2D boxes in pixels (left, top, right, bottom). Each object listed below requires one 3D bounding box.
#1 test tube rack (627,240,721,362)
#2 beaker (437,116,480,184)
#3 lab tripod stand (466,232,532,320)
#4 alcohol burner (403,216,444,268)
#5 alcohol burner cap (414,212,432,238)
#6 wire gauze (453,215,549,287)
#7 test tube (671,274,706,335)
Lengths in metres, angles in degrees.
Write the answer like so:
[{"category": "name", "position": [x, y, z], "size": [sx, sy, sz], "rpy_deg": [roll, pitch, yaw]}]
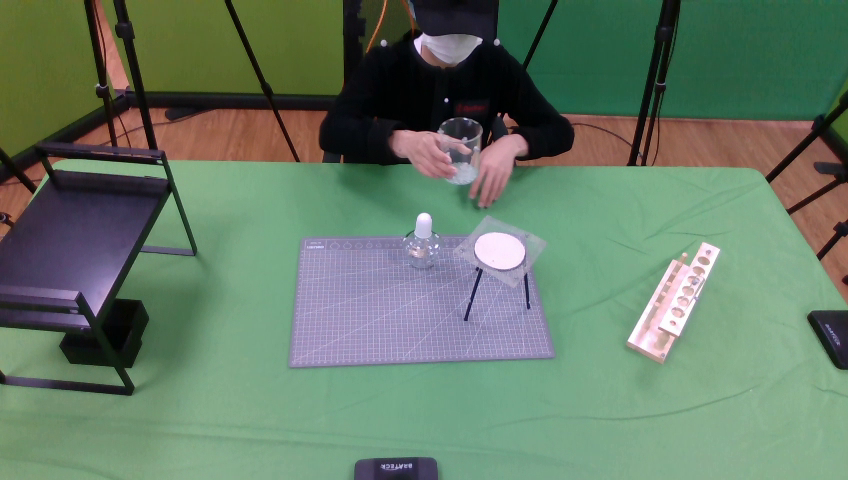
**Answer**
[{"category": "test tube rack", "position": [0.452, 0.098, 1.087], "size": [0.066, 0.085, 0.242], "rpy_deg": [28, 51, 22]}, {"category": "beaker", "position": [0.062, -0.159, 1.074], "size": [0.074, 0.101, 0.083], "rpy_deg": [18, 48, 20]}, {"category": "lab tripod stand", "position": [0.125, 0.059, 1.065], "size": [0.148, 0.132, 0.147], "rpy_deg": [1, 45, 0]}, {"category": "alcohol burner", "position": [-0.001, -0.004, 1.132], "size": [0.078, 0.120, 0.077], "rpy_deg": [1, 47, 0]}, {"category": "alcohol burner cap", "position": [0.000, -0.030, 1.107], "size": [0.034, 0.048, 0.033], "rpy_deg": [4, 41, -3]}, {"category": "wire gauze", "position": [0.129, 0.012, 1.017], "size": [0.124, 0.011, 0.121], "rpy_deg": [28, 50, 23]}, {"category": "test tube", "position": [0.429, 0.111, 1.004], "size": [0.017, 0.151, 0.017], "rpy_deg": [4, 43, -4]}]
